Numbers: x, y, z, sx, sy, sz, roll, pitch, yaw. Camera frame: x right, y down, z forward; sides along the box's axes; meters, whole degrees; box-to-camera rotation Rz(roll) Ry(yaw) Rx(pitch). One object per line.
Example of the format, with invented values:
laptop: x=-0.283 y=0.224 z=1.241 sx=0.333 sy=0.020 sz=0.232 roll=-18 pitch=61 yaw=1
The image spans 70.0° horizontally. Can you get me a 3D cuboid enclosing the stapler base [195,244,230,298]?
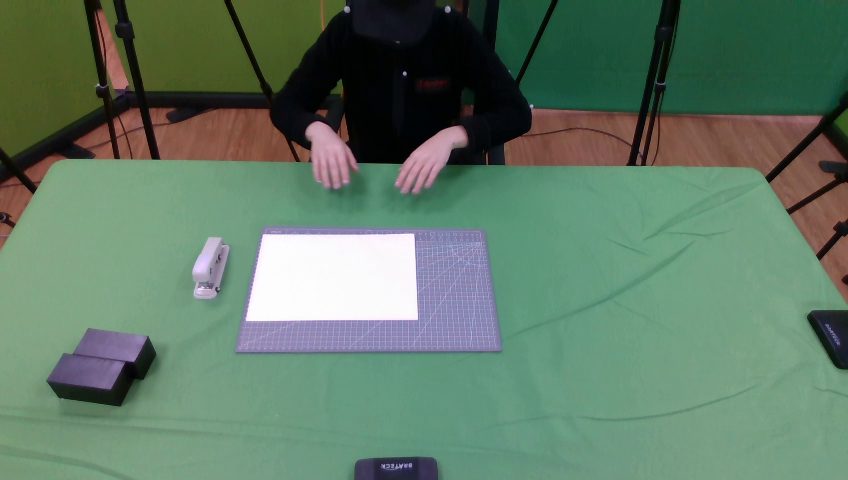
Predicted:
stapler base: x=-0.391 y=0.050 z=1.118 sx=0.041 sy=0.024 sz=0.129 roll=2 pitch=44 yaw=-5

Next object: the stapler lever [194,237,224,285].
stapler lever: x=-0.390 y=0.031 z=1.101 sx=0.027 sy=0.040 sz=0.117 roll=2 pitch=44 yaw=-5
